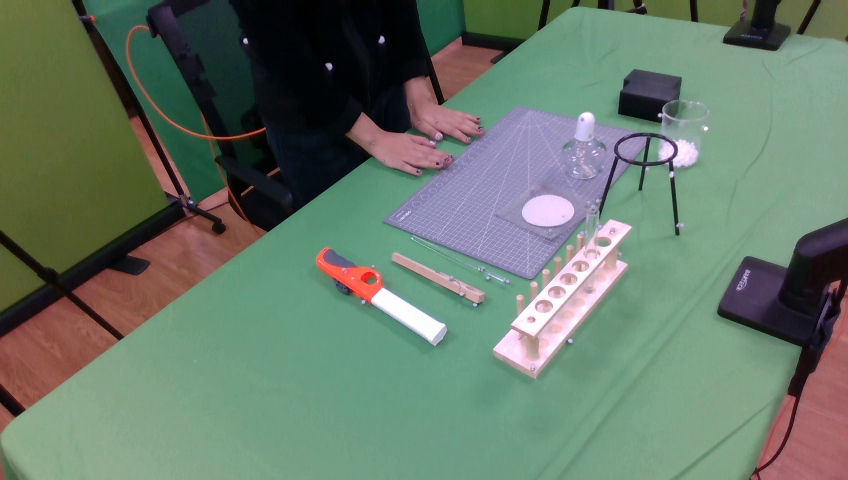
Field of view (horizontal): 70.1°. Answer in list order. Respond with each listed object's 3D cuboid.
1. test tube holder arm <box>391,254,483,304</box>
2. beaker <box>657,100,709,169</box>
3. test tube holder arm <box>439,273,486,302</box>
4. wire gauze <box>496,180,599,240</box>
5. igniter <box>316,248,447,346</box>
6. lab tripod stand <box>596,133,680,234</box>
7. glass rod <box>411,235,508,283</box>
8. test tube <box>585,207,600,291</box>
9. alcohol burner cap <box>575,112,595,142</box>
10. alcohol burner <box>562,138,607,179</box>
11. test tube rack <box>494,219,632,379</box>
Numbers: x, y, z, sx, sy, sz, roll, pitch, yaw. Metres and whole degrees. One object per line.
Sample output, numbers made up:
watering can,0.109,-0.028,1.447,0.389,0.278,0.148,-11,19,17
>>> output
test tube holder arm,0.016,0.056,0.917,0.177,0.015,0.013,23,17,34
beaker,0.449,-0.183,1.054,0.073,0.101,0.084,15,45,27
test tube holder arm,0.053,0.070,0.896,0.087,0.015,0.010,23,17,34
wire gauze,0.206,-0.050,1.012,0.125,0.011,0.120,-34,45,-26
igniter,-0.074,0.078,0.902,0.274,0.025,0.057,29,63,36
lab tripod stand,0.338,-0.091,0.940,0.148,0.132,0.147,-7,39,6
glass rod,0.051,0.028,0.951,0.198,0.008,0.008,25,51,37
test tube,0.222,0.016,0.797,0.017,0.151,0.017,-6,45,7
alcohol burner cap,0.276,-0.194,1.028,0.034,0.048,0.033,-2,45,3
alcohol burner,0.280,-0.167,1.052,0.078,0.119,0.077,-5,39,4
test tube rack,0.191,0.068,0.818,0.066,0.085,0.243,25,51,35
